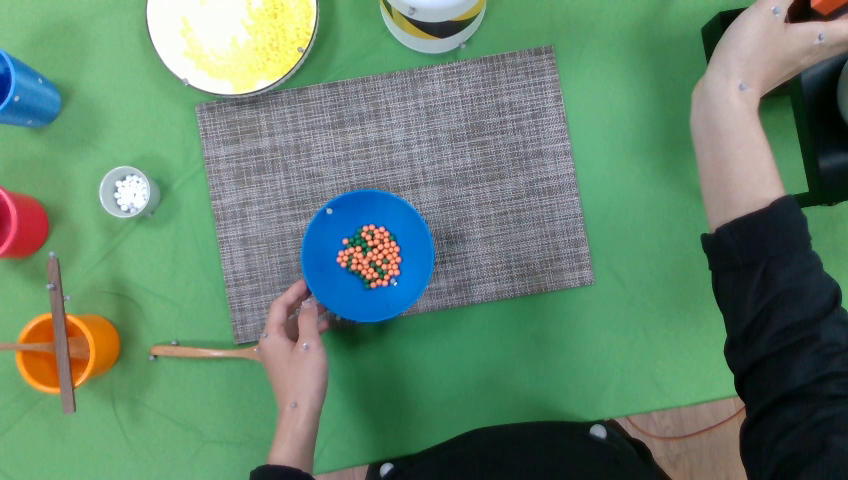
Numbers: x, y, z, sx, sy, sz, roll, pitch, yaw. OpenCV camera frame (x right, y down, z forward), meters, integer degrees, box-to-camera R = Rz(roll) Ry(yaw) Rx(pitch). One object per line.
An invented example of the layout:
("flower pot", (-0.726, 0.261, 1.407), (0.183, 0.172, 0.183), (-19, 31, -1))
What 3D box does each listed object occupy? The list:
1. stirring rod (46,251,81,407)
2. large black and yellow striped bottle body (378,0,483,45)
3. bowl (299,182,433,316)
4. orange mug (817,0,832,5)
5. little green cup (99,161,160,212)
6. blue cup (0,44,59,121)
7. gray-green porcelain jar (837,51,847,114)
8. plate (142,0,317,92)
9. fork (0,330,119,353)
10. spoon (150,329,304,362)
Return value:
("stirring rod", (-0.403, 0.100, 0.677), (0.014, 0.006, 0.176), (-9, 90, 1))
("large black and yellow striped bottle body", (0.007, -0.306, 0.664), (0.131, 0.184, 0.130), (0, 89, 1))
("bowl", (-0.064, 0.011, 0.711), (0.151, 0.077, 0.151), (0, 90, 1))
("orange mug", (0.391, -0.272, 0.525), (0.083, 0.101, 0.126), (30, 85, 1))
("little green cup", (-0.355, -0.063, 0.736), (0.061, 0.038, 0.061), (0, 90, 1))
("blue cup", (-0.485, -0.179, 0.706), (0.092, 0.100, 0.092), (0, 90, 2))
("gray-green porcelain jar", (0.431, -0.148, 0.511), (0.106, 0.126, 0.105), (0, 89, 1))
("plate", (-0.232, -0.281, 0.738), (0.209, 0.038, 0.209), (0, 90, 0))
("fork", (-0.456, 0.112, 0.680), (0.209, 0.018, 0.028), (11, 91, -43))
("spoon", (-0.242, 0.128, 0.741), (0.194, 0.021, 0.042), (1, 104, 0))
